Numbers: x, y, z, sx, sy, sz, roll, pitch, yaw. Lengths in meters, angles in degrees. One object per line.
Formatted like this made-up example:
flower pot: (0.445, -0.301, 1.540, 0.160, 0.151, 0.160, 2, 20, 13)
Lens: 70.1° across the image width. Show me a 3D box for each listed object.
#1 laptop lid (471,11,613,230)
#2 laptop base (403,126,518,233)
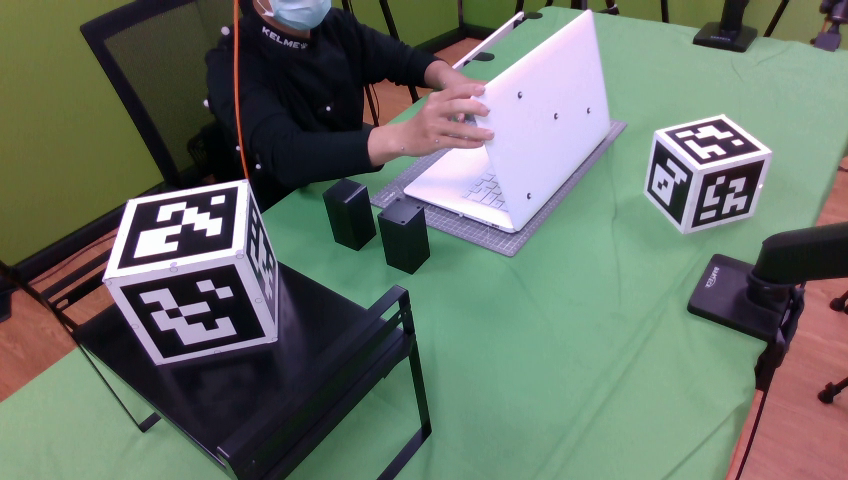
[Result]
laptop lid: (0.213, -0.205, 0.998, 0.013, 0.243, 0.358, 6, 37, 44)
laptop base: (0.156, -0.144, 1.116, 0.233, 0.023, 0.355, 20, 47, 32)
